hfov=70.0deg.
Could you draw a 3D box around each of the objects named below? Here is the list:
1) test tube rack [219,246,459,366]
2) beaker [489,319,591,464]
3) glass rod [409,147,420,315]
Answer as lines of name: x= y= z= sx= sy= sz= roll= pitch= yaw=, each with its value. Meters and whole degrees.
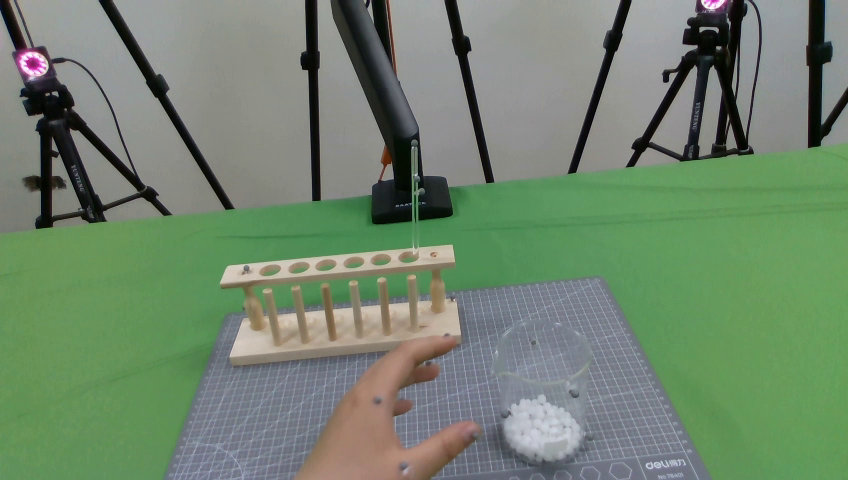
test tube rack: x=-0.088 y=0.069 z=0.643 sx=0.242 sy=0.086 sz=0.066 roll=-5 pitch=31 yaw=0
beaker: x=0.094 y=0.129 z=0.501 sx=0.084 sy=0.101 sz=0.073 roll=-16 pitch=32 yaw=-15
glass rod: x=-0.009 y=-0.002 z=0.619 sx=0.008 sy=0.201 sz=0.008 roll=-1 pitch=32 yaw=1
